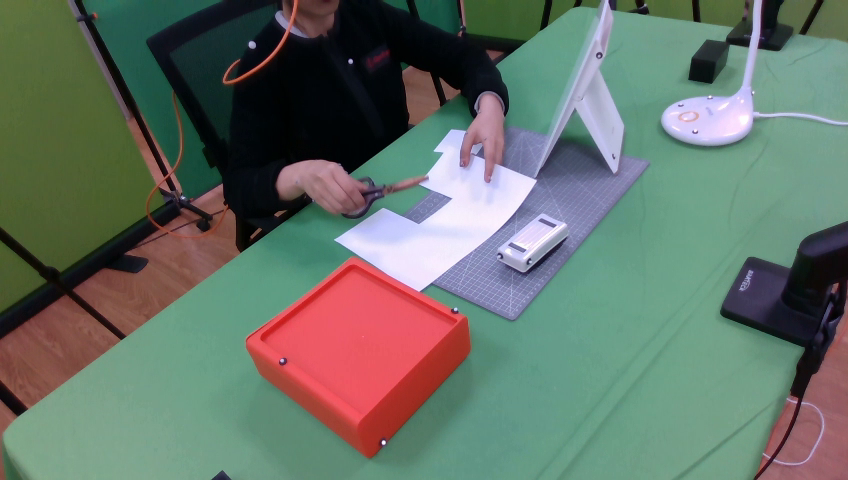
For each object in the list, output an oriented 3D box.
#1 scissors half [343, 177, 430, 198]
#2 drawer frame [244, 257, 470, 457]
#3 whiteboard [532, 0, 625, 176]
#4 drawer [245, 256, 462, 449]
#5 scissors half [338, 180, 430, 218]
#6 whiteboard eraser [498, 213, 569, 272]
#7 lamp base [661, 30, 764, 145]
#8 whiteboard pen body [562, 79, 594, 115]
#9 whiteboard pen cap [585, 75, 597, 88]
[{"bbox_3d":[-0.060,-0.084,0.949,0.174,0.013,0.040,2,58,38],"label":"scissors half"},{"bbox_3d":[-0.084,0.138,0.788,0.212,0.083,0.202,25,50,33],"label":"drawer frame"},{"bbox_3d":[0.320,-0.259,1.050,0.144,0.306,0.217,21,45,5],"label":"whiteboard"},{"bbox_3d":[-0.089,0.136,0.792,0.210,0.073,0.195,26,51,34],"label":"drawer"},{"bbox_3d":[-0.065,-0.067,0.940,0.174,0.013,0.040,-16,53,28],"label":"scissors half"},{"bbox_3d":[0.168,0.006,0.923,0.113,0.042,0.055,-36,48,-28],"label":"whiteboard eraser"},{"bbox_3d":[0.535,-0.287,1.095,0.179,0.181,0.159,-10,40,-4],"label":"lamp base"},{"bbox_3d":[0.328,-0.306,1.277,0.017,0.017,0.141,20,52,30],"label":"whiteboard pen body"},{"bbox_3d":[0.362,-0.343,1.310,0.018,0.018,0.033,19,54,29],"label":"whiteboard pen cap"}]
